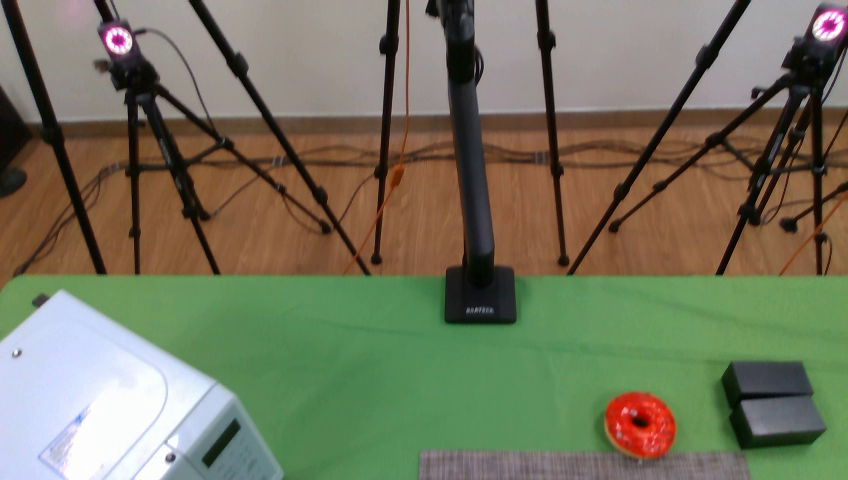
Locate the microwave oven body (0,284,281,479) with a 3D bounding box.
[{"bbox_3d":[-0.443,0.327,0.698,0.324,0.262,0.440,22,56,21],"label":"microwave oven body"}]

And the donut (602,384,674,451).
[{"bbox_3d":[0.301,0.250,0.855,0.099,0.049,0.098,-4,46,5],"label":"donut"}]

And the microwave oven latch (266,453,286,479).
[{"bbox_3d":[-0.220,0.321,0.814,0.030,0.030,0.079,24,56,22],"label":"microwave oven latch"}]

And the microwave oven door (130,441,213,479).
[{"bbox_3d":[-0.338,0.402,0.619,0.039,0.246,0.354,22,55,22],"label":"microwave oven door"}]
